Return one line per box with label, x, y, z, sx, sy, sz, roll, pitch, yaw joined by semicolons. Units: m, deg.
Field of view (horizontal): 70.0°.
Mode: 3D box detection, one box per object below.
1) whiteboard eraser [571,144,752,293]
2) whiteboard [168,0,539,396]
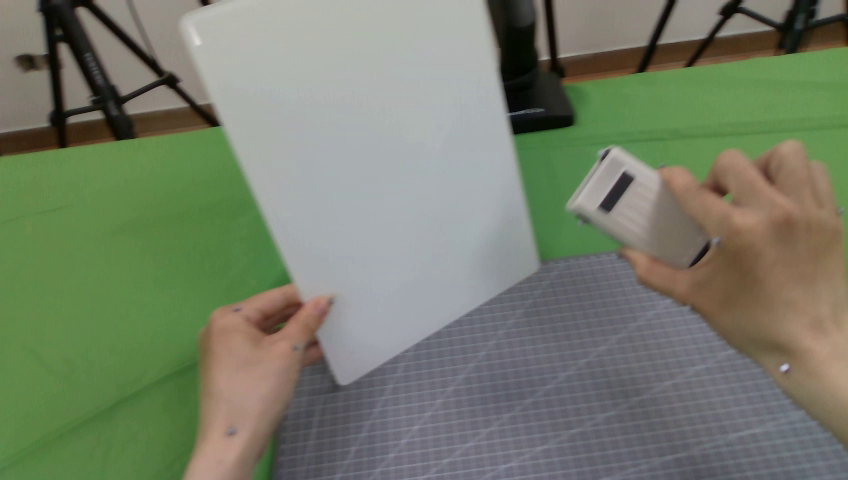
whiteboard eraser;0.165;-0.015;0.425;0.112;0.055;0.042;34;11;0
whiteboard;-0.055;-0.067;0.527;0.217;0.308;0.142;-28;27;-19
